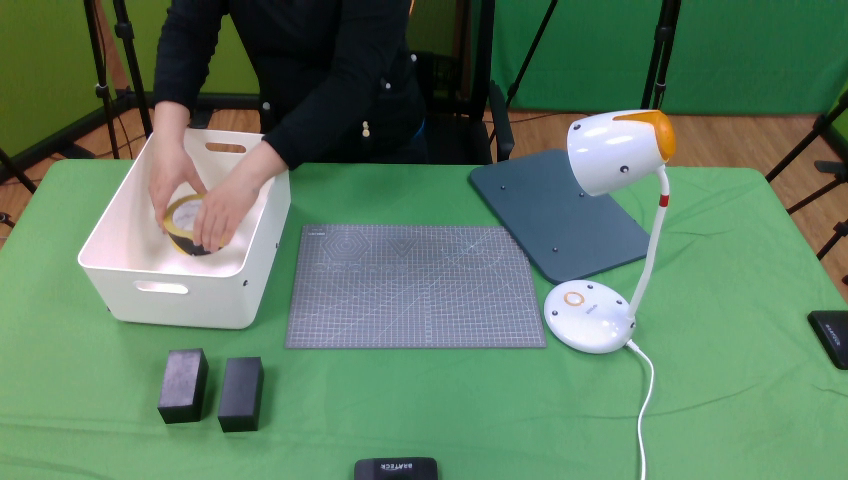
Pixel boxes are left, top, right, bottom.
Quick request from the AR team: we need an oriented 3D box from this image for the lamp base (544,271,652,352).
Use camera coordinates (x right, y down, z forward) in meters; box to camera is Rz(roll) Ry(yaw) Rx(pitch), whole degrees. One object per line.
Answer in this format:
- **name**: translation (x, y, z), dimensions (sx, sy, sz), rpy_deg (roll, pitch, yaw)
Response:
- **lamp base**: translation (0.309, 0.086, 1.029), dimensions (0.178, 0.181, 0.160), rpy_deg (32, 52, 21)

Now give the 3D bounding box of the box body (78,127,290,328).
- **box body**: translation (-0.400, -0.026, 1.095), dimensions (0.254, 0.161, 0.362), rpy_deg (4, 46, 0)

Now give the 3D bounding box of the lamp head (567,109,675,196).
- **lamp head**: translation (0.272, -0.123, 0.818), dimensions (0.122, 0.113, 0.112), rpy_deg (-9, 35, 37)

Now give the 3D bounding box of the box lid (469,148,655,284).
- **box lid**: translation (0.285, -0.064, 1.289), dimensions (0.263, 0.015, 0.369), rpy_deg (-17, 49, -19)

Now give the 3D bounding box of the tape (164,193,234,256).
- **tape**: translation (-0.403, -0.028, 1.092), dimensions (0.117, 0.053, 0.116), rpy_deg (2, 46, -2)
